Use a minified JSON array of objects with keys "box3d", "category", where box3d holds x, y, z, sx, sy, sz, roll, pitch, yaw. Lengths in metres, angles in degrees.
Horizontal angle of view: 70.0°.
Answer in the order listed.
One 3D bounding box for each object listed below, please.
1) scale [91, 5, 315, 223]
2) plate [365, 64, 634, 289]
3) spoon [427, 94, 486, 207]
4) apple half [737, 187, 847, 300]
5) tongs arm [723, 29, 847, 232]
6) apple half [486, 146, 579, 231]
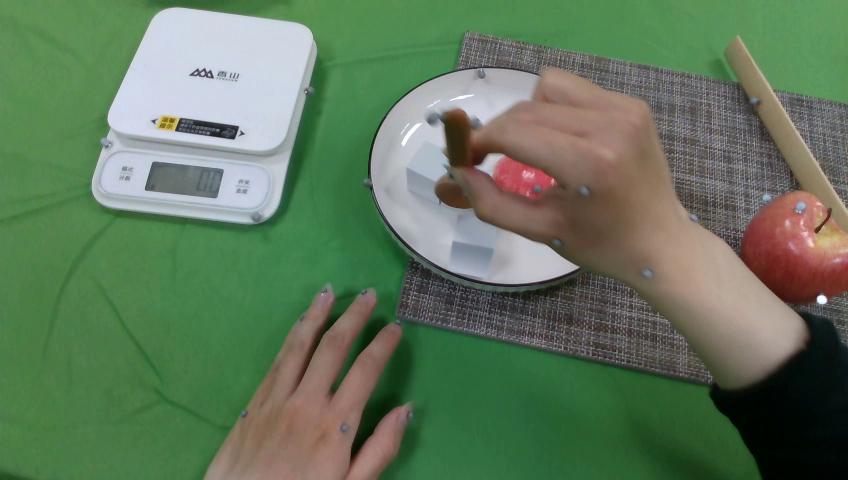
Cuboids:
[{"box3d":[-0.180,-0.112,0.510,0.149,0.032,0.199,7,63,0],"category":"scale"},{"box3d":[0.058,-0.052,0.485,0.209,0.038,0.207,2,62,-3],"category":"plate"},{"box3d":[0.018,-0.044,0.357,0.041,0.194,0.021,2,85,4],"category":"spoon"},{"box3d":[0.264,0.009,0.446,0.053,0.075,0.080,-24,69,-10],"category":"apple half"},{"box3d":[0.339,-0.027,0.495,0.028,0.028,0.384,-10,64,-13],"category":"tongs arm"},{"box3d":[0.088,-0.049,0.480,0.081,0.033,0.080,3,63,-5],"category":"apple half"}]
